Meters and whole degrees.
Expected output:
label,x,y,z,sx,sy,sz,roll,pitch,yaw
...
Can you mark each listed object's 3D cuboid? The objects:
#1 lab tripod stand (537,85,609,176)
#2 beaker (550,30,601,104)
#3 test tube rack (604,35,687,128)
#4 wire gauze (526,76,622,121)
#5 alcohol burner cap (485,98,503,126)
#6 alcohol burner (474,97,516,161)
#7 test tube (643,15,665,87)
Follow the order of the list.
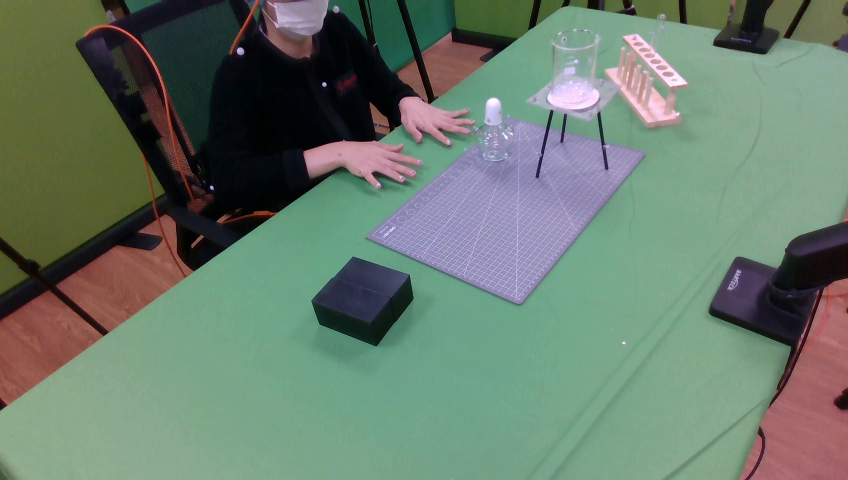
label,x,y,z,sx,sy,sz,roll,pitch,yaw
lab tripod stand,0.259,-0.192,1.068,0.148,0.132,0.147,-4,43,4
beaker,0.249,-0.285,1.001,0.084,0.101,0.073,-13,43,-5
test tube rack,0.447,-0.330,1.241,0.067,0.085,0.241,-9,41,-2
wire gauze,0.255,-0.247,1.030,0.124,0.011,0.122,23,49,34
alcohol burner cap,0.126,-0.234,1.097,0.034,0.048,0.033,-3,39,3
alcohol burner,0.131,-0.208,1.121,0.078,0.119,0.077,-6,40,5
test tube,0.460,-0.378,1.219,0.017,0.151,0.017,-1,43,1
